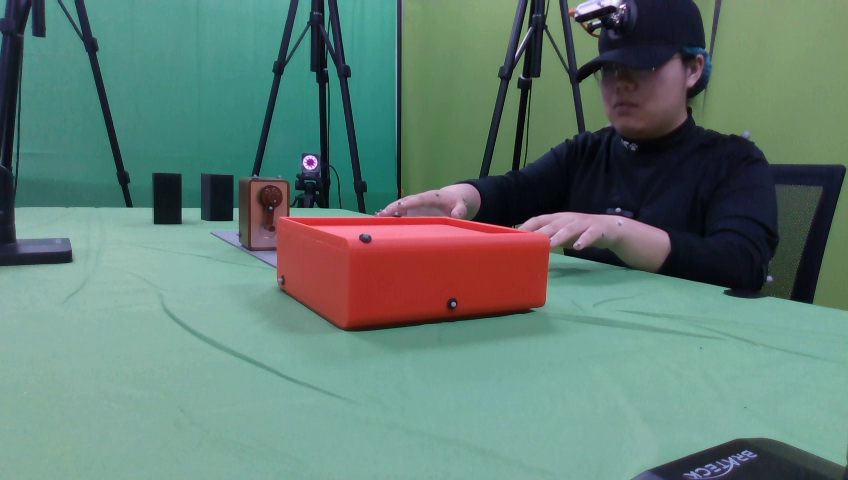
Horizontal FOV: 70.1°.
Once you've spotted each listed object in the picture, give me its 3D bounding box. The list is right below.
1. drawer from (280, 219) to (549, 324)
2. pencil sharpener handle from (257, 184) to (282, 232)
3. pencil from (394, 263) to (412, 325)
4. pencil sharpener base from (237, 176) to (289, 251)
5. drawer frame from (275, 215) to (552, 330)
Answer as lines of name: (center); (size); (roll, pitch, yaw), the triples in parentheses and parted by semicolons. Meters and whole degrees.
drawer: (-0.016, 0.024, 0.612); (0.213, 0.073, 0.193); (-2, 9, -30)
pencil sharpener handle: (-0.219, -0.046, 0.865); (0.036, 0.067, 0.030); (6, 5, -29)
pencil: (-0.021, 0.052, 0.614); (0.012, 0.012, 0.194); (3, 12, 0)
pencil sharpener base: (-0.243, -0.040, 0.912); (0.061, 0.107, 0.076); (-1, 8, -29)
drawer frame: (-0.017, 0.022, 0.610); (0.215, 0.082, 0.200); (-2, 9, -31)
